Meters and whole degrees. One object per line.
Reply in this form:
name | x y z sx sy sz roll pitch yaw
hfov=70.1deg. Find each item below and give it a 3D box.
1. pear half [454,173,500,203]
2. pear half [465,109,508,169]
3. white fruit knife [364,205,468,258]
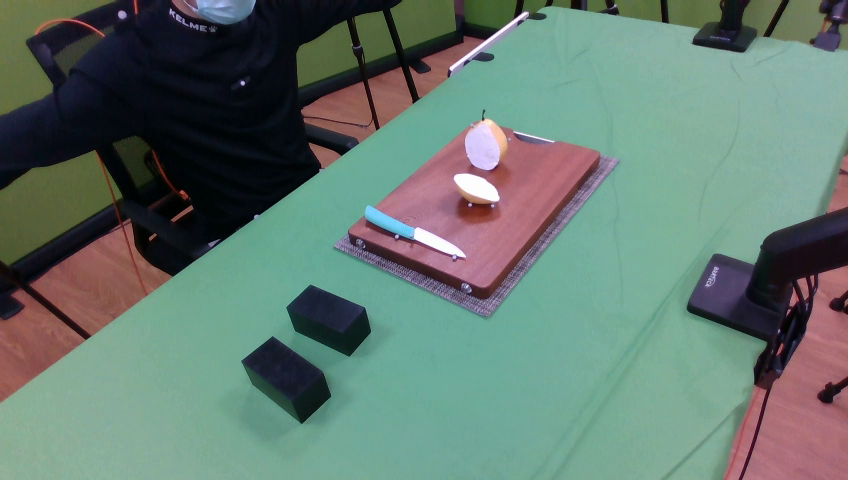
pear half | 0.086 -0.079 0.994 0.071 0.031 0.087 -22 54 -39
pear half | 0.112 -0.185 1.055 0.076 0.110 0.056 18 46 22
white fruit knife | -0.017 -0.012 0.943 0.206 0.016 0.027 24 65 29
